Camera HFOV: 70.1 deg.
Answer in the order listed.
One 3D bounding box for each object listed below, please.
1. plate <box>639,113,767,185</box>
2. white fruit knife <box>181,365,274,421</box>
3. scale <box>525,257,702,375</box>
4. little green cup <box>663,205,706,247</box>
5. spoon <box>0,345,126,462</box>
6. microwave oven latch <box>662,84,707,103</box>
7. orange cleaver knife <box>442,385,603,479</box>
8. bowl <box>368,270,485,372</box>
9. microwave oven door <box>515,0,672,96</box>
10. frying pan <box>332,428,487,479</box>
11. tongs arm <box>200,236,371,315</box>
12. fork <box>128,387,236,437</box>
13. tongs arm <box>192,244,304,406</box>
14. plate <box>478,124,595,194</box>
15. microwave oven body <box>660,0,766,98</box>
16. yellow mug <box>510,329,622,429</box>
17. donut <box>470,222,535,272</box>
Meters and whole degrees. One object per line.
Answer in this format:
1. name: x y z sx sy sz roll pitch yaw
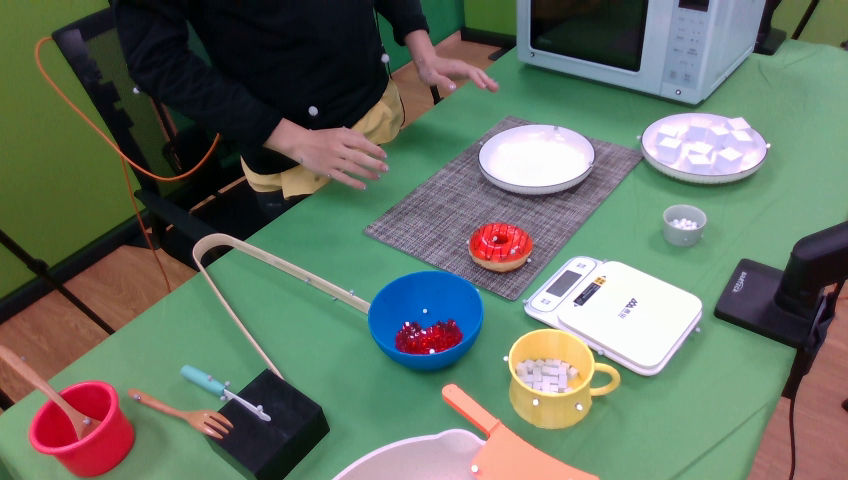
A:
1. plate: 0.489 -0.157 1.074 0.207 0.039 0.206 -4 40 4
2. white fruit knife: -0.245 0.187 0.747 0.205 0.027 0.016 9 41 40
3. scale: 0.254 0.091 0.821 0.199 0.032 0.149 28 51 35
4. little green cup: 0.396 -0.021 0.926 0.061 0.039 0.061 -4 40 4
5. spoon: -0.434 0.192 0.720 0.194 0.021 0.042 47 53 -7
6. microwave oven latch: 0.517 -0.296 1.204 0.078 0.029 0.030 27 52 35
7. orange cleaver knife: 0.086 0.219 0.612 0.209 0.012 0.077 28 49 35
8. bowl: 0.007 0.118 0.791 0.151 0.077 0.150 -5 40 4
9. microwave oven door: 0.343 -0.454 1.259 0.353 0.245 0.039 26 51 33
10. frying pan: -0.089 0.306 0.564 0.487 0.103 0.306 10 41 7
11. tongs arm: -0.209 0.062 0.924 0.381 0.027 0.051 23 54 32
12. fork: -0.305 0.207 0.744 0.206 0.019 0.028 3 40 36
13. tongs arm: -0.268 0.112 0.884 0.028 0.028 0.384 -36 47 -17
14. plate: 0.202 -0.142 1.093 0.209 0.038 0.208 -4 40 4
15. microwave oven body: 0.472 -0.513 1.317 0.438 0.261 0.327 26 51 34
16. yellow mug: 0.168 0.164 0.721 0.130 0.064 0.099 0 40 8
17. donut: 0.119 0.009 0.923 0.099 0.048 0.098 -4 38 3
